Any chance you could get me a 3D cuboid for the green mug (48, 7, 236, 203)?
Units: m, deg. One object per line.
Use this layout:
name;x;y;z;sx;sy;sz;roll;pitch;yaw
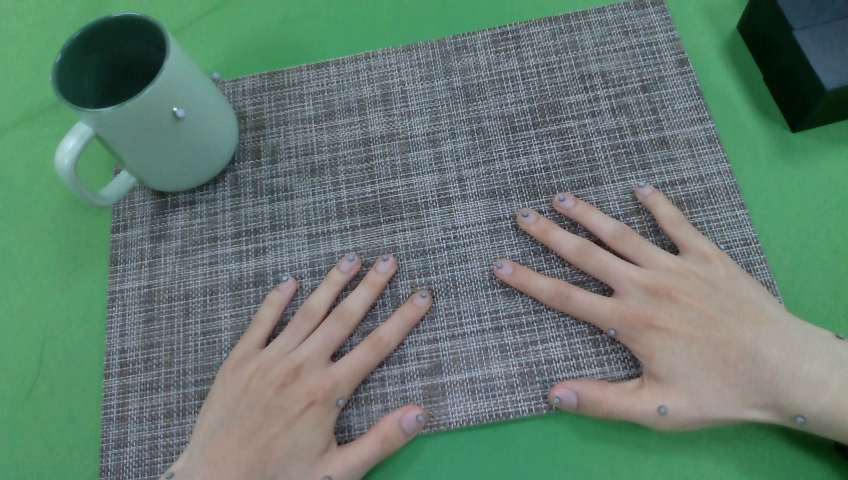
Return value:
green mug;-0.201;-0.082;0.423;0.092;0.106;0.125;26;74;16
